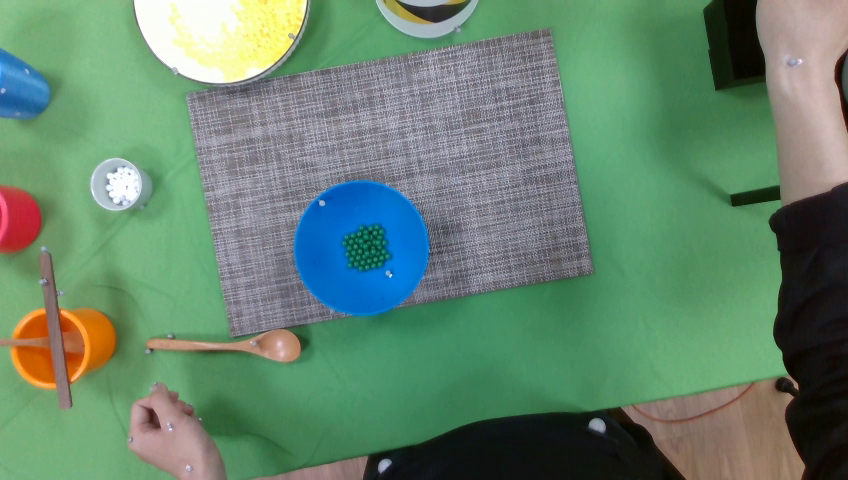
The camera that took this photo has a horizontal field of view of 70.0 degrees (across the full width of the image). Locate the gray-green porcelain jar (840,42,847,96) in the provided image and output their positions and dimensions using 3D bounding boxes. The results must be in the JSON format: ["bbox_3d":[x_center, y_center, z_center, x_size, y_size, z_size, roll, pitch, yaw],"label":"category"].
[{"bbox_3d":[0.422,-0.155,0.494,0.106,0.126,0.106,0,91,1],"label":"gray-green porcelain jar"}]

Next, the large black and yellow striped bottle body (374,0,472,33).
[{"bbox_3d":[-0.003,-0.314,0.645,0.131,0.184,0.130,0,91,1],"label":"large black and yellow striped bottle body"}]

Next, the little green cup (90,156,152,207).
[{"bbox_3d":[-0.361,-0.068,0.727,0.061,0.038,0.061,0,92,2],"label":"little green cup"}]

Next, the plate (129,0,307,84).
[{"bbox_3d":[-0.241,-0.288,0.722,0.209,0.038,0.209,0,91,0],"label":"plate"}]

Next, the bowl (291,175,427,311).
[{"bbox_3d":[-0.070,0.003,0.702,0.151,0.077,0.151,0,91,1],"label":"bowl"}]

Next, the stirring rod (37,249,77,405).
[{"bbox_3d":[-0.408,0.097,0.673,0.014,0.006,0.176,-9,91,1],"label":"stirring rod"}]

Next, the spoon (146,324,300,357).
[{"bbox_3d":[-0.245,0.122,0.737,0.194,0.021,0.042,0,104,0],"label":"spoon"}]

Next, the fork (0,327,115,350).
[{"bbox_3d":[-0.460,0.110,0.677,0.209,0.018,0.028,9,94,-43],"label":"fork"}]

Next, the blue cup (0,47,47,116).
[{"bbox_3d":[-0.493,-0.182,0.694,0.092,0.100,0.092,0,92,3],"label":"blue cup"}]
